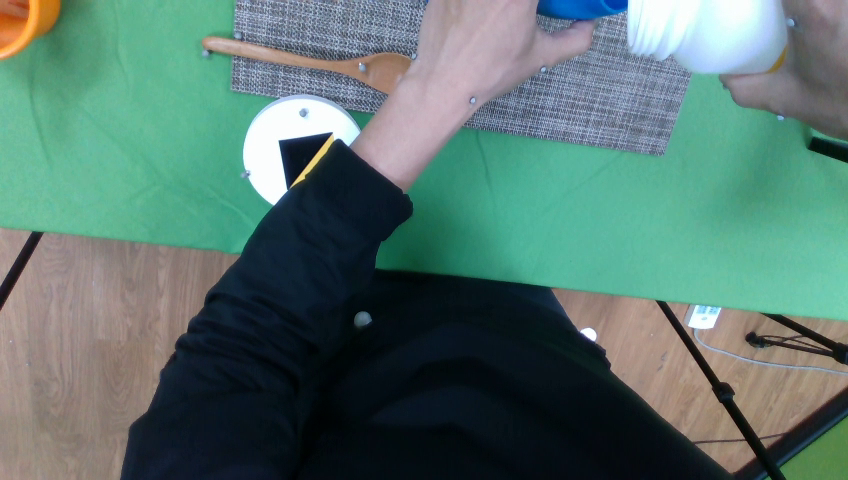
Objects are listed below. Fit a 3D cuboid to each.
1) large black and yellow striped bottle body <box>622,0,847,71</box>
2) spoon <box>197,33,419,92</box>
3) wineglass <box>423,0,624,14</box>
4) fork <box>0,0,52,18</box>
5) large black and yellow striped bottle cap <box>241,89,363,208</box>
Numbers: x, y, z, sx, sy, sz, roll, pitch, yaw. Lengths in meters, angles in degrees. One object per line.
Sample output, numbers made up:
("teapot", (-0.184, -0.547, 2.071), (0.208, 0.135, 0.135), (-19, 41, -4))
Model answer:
("large black and yellow striped bottle body", (0.215, -0.165, 0.348), (0.183, 0.130, 0.131), (4, 116, 11))
("spoon", (-0.100, -0.163, 0.538), (0.194, 0.021, 0.042), (5, 135, -15))
("wineglass", (0.070, -0.208, 0.456), (0.074, 0.170, 0.074), (-17, 116, -38))
("fork", (-0.359, -0.185, 0.402), (0.208, 0.018, 0.028), (-7, 133, -59))
("large black and yellow striped bottle cap", (-0.115, -0.085, 0.578), (0.115, 0.018, 0.116), (-6, 120, -10))
